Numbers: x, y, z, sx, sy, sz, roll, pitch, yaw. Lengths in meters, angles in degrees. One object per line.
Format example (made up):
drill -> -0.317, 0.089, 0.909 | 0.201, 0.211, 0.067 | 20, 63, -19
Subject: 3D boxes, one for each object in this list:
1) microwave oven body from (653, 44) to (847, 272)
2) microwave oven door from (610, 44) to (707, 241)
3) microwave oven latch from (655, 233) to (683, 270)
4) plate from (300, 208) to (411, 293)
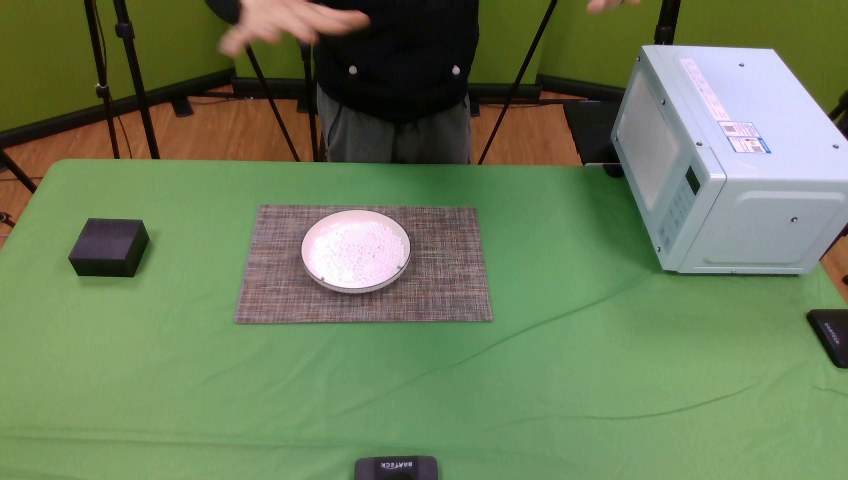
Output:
microwave oven body -> 0.620, -0.172, 1.234 | 0.326, 0.261, 0.439 | 0, 46, -3
microwave oven door -> 0.474, -0.208, 1.250 | 0.039, 0.245, 0.353 | 0, 47, -3
microwave oven latch -> 0.473, 0.021, 1.175 | 0.030, 0.029, 0.078 | 2, 46, -1
plate -> -0.128, 0.023, 1.149 | 0.209, 0.038, 0.208 | 2, 47, -2
